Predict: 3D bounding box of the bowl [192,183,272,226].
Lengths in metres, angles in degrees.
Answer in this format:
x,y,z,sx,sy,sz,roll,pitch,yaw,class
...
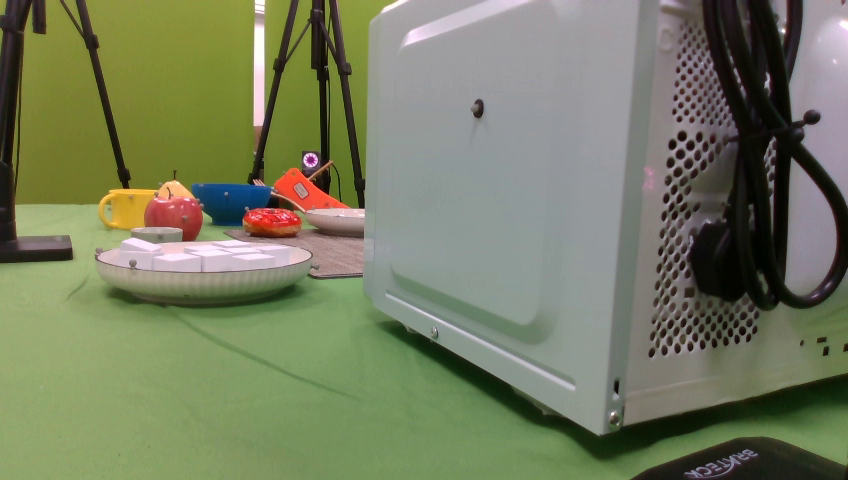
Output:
x,y,z,sx,sy,sz,roll,pitch,yaw,class
-0.381,-0.070,1.202,0.151,0.077,0.151,3,7,0,bowl

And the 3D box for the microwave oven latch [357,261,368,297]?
x,y,z,sx,sy,sz,roll,pitch,yaw,class
-0.019,0.033,0.531,0.079,0.029,0.030,-1,7,-27,microwave oven latch

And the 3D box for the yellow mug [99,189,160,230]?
x,y,z,sx,sy,sz,roll,pitch,yaw,class
-0.518,-0.055,1.080,0.099,0.064,0.131,7,10,26,yellow mug

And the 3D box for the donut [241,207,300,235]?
x,y,z,sx,sy,sz,roll,pitch,yaw,class
-0.263,-0.032,1.039,0.099,0.048,0.099,4,9,0,donut

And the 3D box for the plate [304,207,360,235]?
x,y,z,sx,sy,sz,roll,pitch,yaw,class
-0.123,-0.037,1.149,0.209,0.038,0.209,2,7,0,plate

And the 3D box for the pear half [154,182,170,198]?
x,y,z,sx,sy,sz,roll,pitch,yaw,class
-0.435,-0.053,1.006,0.031,0.088,0.070,3,12,0,pear half

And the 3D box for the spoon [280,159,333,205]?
x,y,z,sx,sy,sz,roll,pitch,yaw,class
-0.316,-0.159,1.639,0.194,0.022,0.041,-49,31,-20,spoon

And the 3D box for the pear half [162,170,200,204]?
x,y,z,sx,sy,sz,roll,pitch,yaw,class
-0.399,-0.061,1.002,0.056,0.110,0.076,2,12,1,pear half

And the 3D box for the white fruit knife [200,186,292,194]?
x,y,z,sx,sy,sz,roll,pitch,yaw,class
-0.399,-0.111,1.368,0.208,0.016,0.027,-4,-19,-29,white fruit knife

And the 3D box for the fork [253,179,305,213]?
x,y,z,sx,sy,sz,roll,pitch,yaw,class
-0.294,-0.084,1.293,0.206,0.018,0.028,29,13,26,fork

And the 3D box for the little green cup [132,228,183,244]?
x,y,z,sx,sy,sz,roll,pitch,yaw,class
-0.342,0.006,0.779,0.061,0.038,0.061,2,8,0,little green cup

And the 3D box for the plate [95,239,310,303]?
x,y,z,sx,sy,sz,roll,pitch,yaw,class
-0.224,0.031,0.629,0.208,0.039,0.207,2,8,0,plate

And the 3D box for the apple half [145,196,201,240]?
x,y,z,sx,sy,sz,roll,pitch,yaw,class
-0.377,-0.027,0.891,0.080,0.074,0.053,8,12,18,apple half

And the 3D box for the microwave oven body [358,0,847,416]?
x,y,z,sx,sy,sz,roll,pitch,yaw,class
0.211,-0.047,0.475,0.444,0.260,0.324,-1,7,-28,microwave oven body

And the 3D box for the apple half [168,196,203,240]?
x,y,z,sx,sy,sz,roll,pitch,yaw,class
-0.365,-0.033,0.928,0.081,0.081,0.033,5,11,18,apple half

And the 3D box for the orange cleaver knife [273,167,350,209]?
x,y,z,sx,sy,sz,roll,pitch,yaw,class
-0.237,-0.087,1.358,0.211,0.077,0.012,32,4,-3,orange cleaver knife

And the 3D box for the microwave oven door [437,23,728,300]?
x,y,z,sx,sy,sz,roll,pitch,yaw,class
0.180,-0.072,0.621,0.358,0.243,0.039,-2,8,-29,microwave oven door
